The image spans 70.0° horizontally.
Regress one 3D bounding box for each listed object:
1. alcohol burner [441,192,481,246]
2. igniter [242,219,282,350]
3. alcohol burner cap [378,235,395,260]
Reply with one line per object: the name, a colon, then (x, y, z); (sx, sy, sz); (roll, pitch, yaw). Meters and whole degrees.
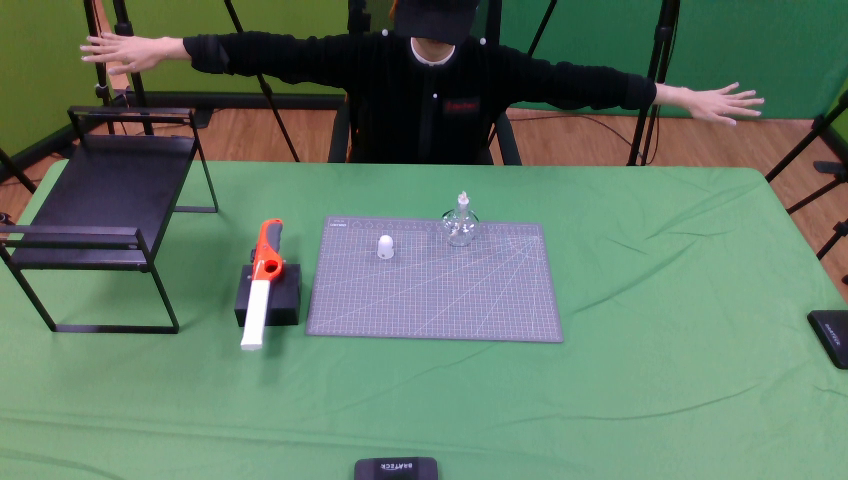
alcohol burner: (0.073, -0.046, 1.176); (0.078, 0.119, 0.077); (2, 44, -2)
igniter: (-0.277, 0.065, 1.043); (0.057, 0.025, 0.274); (1, 48, -6)
alcohol burner cap: (-0.073, 0.012, 1.160); (0.034, 0.048, 0.033); (1, 46, 0)
